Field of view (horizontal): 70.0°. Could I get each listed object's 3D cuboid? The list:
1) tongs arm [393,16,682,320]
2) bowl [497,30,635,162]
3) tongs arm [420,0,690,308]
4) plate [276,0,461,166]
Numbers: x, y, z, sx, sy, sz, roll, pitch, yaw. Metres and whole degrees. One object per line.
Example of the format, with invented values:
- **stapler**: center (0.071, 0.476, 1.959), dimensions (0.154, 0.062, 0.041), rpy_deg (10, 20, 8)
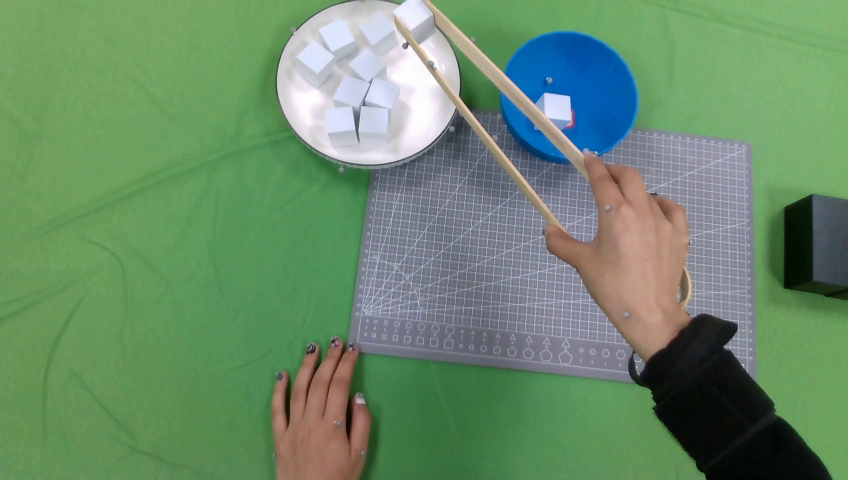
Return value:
- **tongs arm**: center (0.089, -0.081, 0.555), dimensions (0.051, 0.027, 0.382), rpy_deg (-31, 71, -6)
- **bowl**: center (0.150, -0.149, 0.685), dimensions (0.151, 0.077, 0.150), rpy_deg (1, 76, -4)
- **tongs arm**: center (0.108, -0.094, 0.557), dimensions (0.028, 0.028, 0.385), rpy_deg (-35, 72, -11)
- **plate**: center (-0.062, -0.178, 0.697), dimensions (0.208, 0.039, 0.206), rpy_deg (1, 76, -3)
